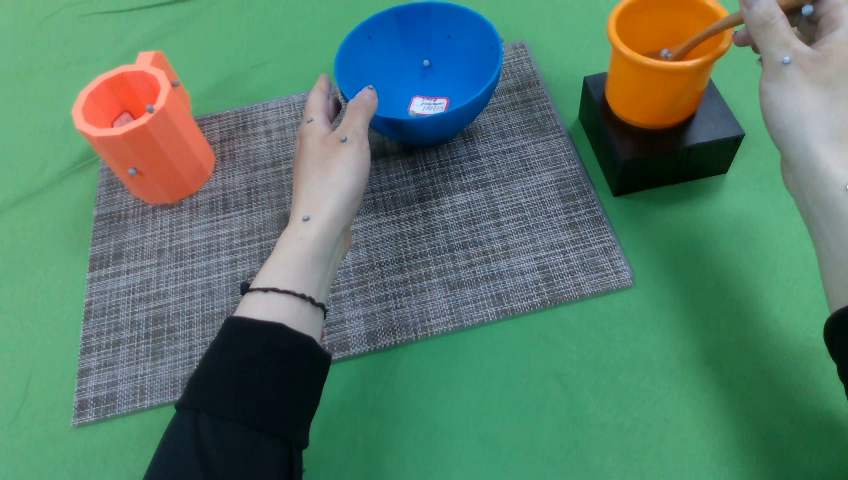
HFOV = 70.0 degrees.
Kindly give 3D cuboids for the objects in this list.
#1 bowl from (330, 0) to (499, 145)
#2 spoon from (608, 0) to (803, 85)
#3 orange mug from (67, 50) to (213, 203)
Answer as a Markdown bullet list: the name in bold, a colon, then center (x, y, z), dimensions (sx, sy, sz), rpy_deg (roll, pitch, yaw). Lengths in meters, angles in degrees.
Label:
- **bowl**: center (-0.005, -0.143, 0.562), dimensions (0.151, 0.077, 0.150), rpy_deg (-3, 58, 5)
- **spoon**: center (0.206, -0.151, 0.437), dimensions (0.022, 0.193, 0.041), rpy_deg (36, 73, -17)
- **orange mug**: center (-0.255, -0.112, 0.563), dimensions (0.083, 0.101, 0.125), rpy_deg (-3, 63, 6)
